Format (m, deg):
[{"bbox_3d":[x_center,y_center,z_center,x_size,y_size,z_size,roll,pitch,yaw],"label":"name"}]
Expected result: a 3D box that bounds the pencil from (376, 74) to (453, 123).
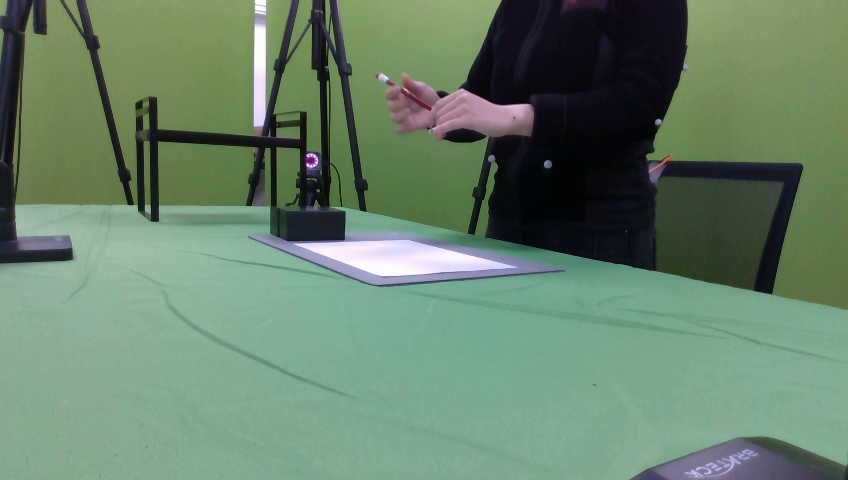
[{"bbox_3d":[-0.018,-0.238,1.011,0.193,0.012,0.012,39,28,32],"label":"pencil"}]
